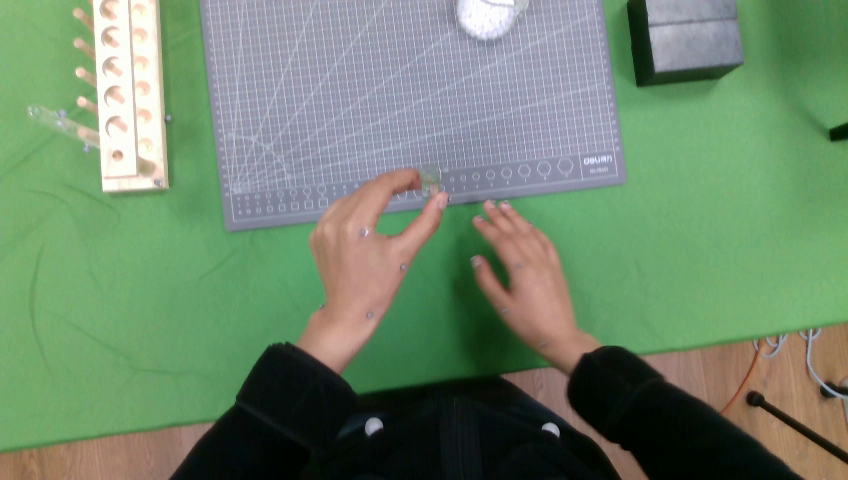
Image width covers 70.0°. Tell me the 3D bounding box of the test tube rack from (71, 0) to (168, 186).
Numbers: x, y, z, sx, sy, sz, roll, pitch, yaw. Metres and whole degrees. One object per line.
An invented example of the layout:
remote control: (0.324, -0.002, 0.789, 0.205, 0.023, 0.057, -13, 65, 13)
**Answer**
test tube rack: (-0.319, -0.183, 0.624, 0.067, 0.085, 0.242, -4, 87, -3)

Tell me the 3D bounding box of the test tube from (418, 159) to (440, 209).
test tube: (0.004, -0.044, 0.513, 0.017, 0.150, 0.017, 0, 84, 1)

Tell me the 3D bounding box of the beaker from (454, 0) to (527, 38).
beaker: (0.072, -0.262, 0.639, 0.074, 0.100, 0.084, -36, 89, -4)

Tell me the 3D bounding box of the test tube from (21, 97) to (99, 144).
test tube: (-0.332, -0.109, 0.575, 0.017, 0.150, 0.017, 0, 87, -3)
